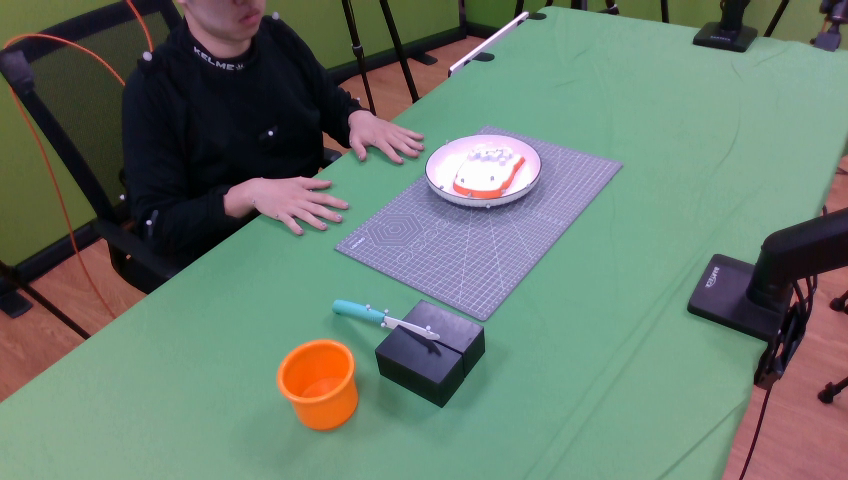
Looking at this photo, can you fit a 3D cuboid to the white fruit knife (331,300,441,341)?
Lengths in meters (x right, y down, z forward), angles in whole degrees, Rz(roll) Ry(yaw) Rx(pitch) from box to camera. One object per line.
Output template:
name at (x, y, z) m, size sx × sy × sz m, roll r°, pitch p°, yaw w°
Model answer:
white fruit knife at (-0.056, 0.107, 0.807) m, size 0.205 × 0.027 × 0.016 m, roll 9°, pitch 42°, yaw 40°

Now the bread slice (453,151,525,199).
bread slice at (0.112, -0.118, 1.079) m, size 0.104 × 0.019 × 0.131 m, roll 11°, pitch 42°, yaw 21°

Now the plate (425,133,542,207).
plate at (0.105, -0.121, 1.079) m, size 0.209 × 0.038 × 0.208 m, roll -4°, pitch 41°, yaw 4°
